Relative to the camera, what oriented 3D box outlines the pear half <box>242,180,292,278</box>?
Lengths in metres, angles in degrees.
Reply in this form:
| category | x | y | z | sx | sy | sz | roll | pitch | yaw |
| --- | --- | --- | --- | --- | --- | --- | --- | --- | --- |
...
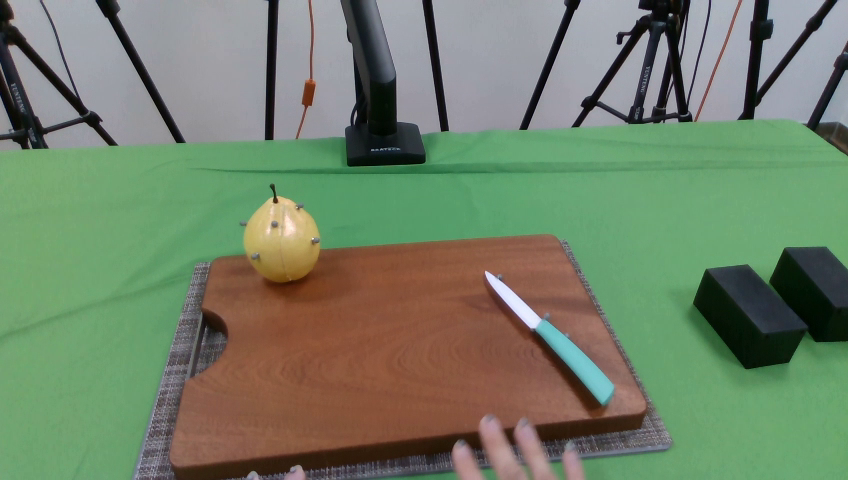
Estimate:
| category | x | y | z | sx | sy | sz | roll | pitch | yaw |
| --- | --- | --- | --- | --- | --- | --- | --- | --- | --- |
| pear half | -0.163 | -0.016 | 0.630 | 0.056 | 0.111 | 0.075 | 2 | 33 | 1 |

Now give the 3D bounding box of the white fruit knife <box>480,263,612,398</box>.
| category | x | y | z | sx | sy | sz | roll | pitch | yaw |
| --- | --- | --- | --- | --- | --- | --- | --- | --- | --- |
| white fruit knife | 0.113 | 0.078 | 0.591 | 0.027 | 0.016 | 0.205 | -5 | 34 | -30 |

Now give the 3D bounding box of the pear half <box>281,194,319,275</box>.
| category | x | y | z | sx | sy | sz | roll | pitch | yaw |
| --- | --- | --- | --- | --- | --- | --- | --- | --- | --- |
| pear half | -0.127 | -0.006 | 0.634 | 0.031 | 0.088 | 0.070 | 1 | 30 | 0 |
